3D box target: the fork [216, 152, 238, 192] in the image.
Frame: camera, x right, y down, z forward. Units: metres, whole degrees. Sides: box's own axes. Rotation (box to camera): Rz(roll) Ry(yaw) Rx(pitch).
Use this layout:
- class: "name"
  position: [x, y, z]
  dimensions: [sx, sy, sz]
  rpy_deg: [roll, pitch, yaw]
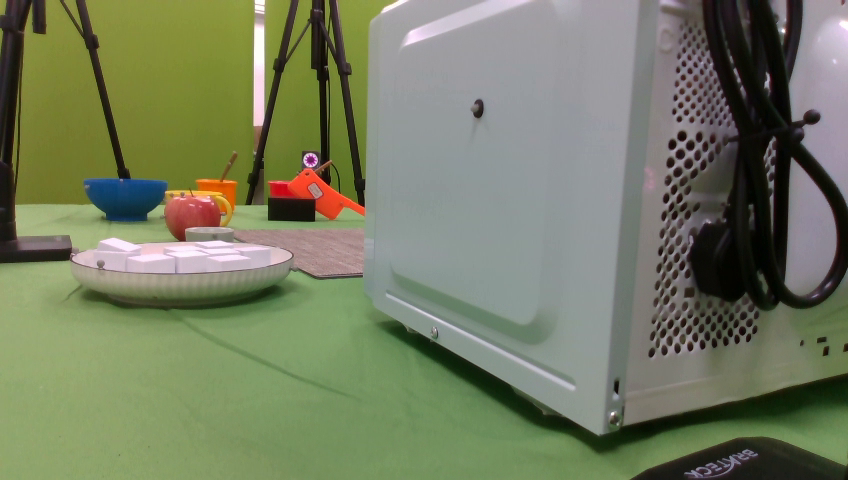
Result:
- class: "fork"
  position: [-0.455, -0.132, 1.367]
  dimensions: [0.028, 0.018, 0.207]
  rpy_deg: [-2, -35, -37]

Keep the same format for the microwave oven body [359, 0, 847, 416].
- class: "microwave oven body"
  position: [0.211, -0.047, 0.474]
  dimensions: [0.444, 0.260, 0.324]
  rpy_deg: [-1, 7, -28]

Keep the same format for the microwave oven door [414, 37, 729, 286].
- class: "microwave oven door"
  position: [0.168, -0.077, 0.651]
  dimensions: [0.357, 0.243, 0.039]
  rpy_deg: [0, 8, -17]

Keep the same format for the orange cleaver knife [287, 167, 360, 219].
- class: "orange cleaver knife"
  position: [-0.209, -0.089, 1.383]
  dimensions: [0.212, 0.077, 0.012]
  rpy_deg: [31, 3, -15]

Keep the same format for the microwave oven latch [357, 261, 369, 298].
- class: "microwave oven latch"
  position: [-0.019, 0.034, 0.530]
  dimensions: [0.079, 0.029, 0.030]
  rpy_deg: [0, 7, -25]

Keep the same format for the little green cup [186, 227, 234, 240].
- class: "little green cup"
  position: [-0.284, 0.005, 0.805]
  dimensions: [0.061, 0.038, 0.061]
  rpy_deg: [2, 8, 0]

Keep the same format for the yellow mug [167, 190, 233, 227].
- class: "yellow mug"
  position: [-0.415, -0.057, 1.132]
  dimensions: [0.130, 0.064, 0.100]
  rpy_deg: [6, 8, 16]

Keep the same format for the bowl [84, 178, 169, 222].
- class: "bowl"
  position: [-0.584, -0.078, 1.194]
  dimensions: [0.151, 0.077, 0.151]
  rpy_deg: [3, 8, 0]

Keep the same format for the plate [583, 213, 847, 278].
- class: "plate"
  position: [0.241, 0.002, 0.513]
  dimensions: [0.209, 0.038, 0.209]
  rpy_deg: [1, 7, 0]

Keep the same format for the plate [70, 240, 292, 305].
- class: "plate"
  position: [-0.242, 0.031, 0.618]
  dimensions: [0.208, 0.039, 0.207]
  rpy_deg: [2, 8, 0]

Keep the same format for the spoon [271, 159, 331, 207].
- class: "spoon"
  position: [-0.308, -0.142, 1.514]
  dimensions: [0.193, 0.021, 0.041]
  rpy_deg: [-41, 5, 9]

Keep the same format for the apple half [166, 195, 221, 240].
- class: "apple half"
  position: [-0.351, -0.031, 0.935]
  dimensions: [0.081, 0.074, 0.053]
  rpy_deg: [1, 11, -40]

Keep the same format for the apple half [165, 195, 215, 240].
- class: "apple half"
  position: [-0.377, -0.038, 0.964]
  dimensions: [0.082, 0.081, 0.032]
  rpy_deg: [-4, 15, -39]

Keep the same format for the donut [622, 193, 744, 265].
- class: "donut"
  position: [0.219, -0.007, 0.518]
  dimensions: [0.099, 0.048, 0.099]
  rpy_deg: [22, 1, 0]
